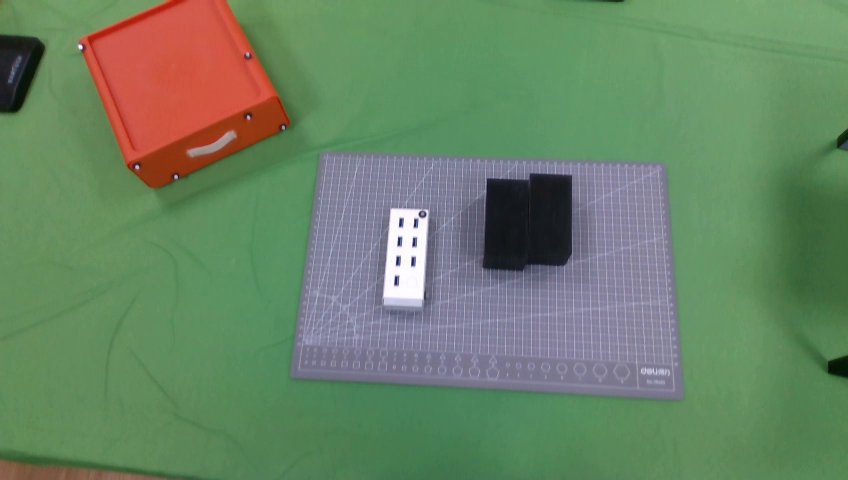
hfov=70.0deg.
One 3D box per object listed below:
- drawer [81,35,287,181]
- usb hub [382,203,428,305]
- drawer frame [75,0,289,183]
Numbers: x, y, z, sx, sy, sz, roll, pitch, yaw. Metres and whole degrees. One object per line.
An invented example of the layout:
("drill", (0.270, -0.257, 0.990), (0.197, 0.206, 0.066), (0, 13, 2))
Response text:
("drawer", (-0.316, -0.210, 0.799), (0.194, 0.074, 0.210), (-28, 71, -7))
("usb hub", (-0.022, 0.016, 0.736), (0.049, 0.025, 0.124), (2, 71, 2))
("drawer frame", (-0.316, -0.213, 0.797), (0.202, 0.083, 0.212), (-28, 72, -7))
